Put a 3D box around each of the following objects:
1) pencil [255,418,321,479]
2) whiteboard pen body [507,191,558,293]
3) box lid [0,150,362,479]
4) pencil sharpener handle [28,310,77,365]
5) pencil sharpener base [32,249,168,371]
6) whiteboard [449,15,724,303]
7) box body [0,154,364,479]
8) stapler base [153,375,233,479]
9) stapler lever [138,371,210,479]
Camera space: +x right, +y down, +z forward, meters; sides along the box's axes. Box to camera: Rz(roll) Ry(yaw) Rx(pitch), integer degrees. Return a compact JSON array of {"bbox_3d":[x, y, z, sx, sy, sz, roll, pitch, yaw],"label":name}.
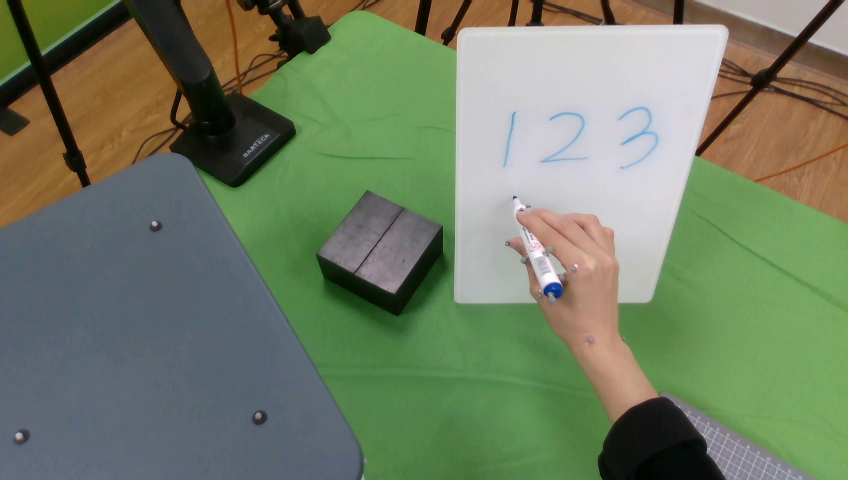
[{"bbox_3d":[-0.164,0.234,0.550,0.012,0.012,0.193,33,53,20],"label":"pencil"},{"bbox_3d":[0.089,-0.004,0.522,0.017,0.017,0.139,-7,38,-3],"label":"whiteboard pen body"},{"bbox_3d":[-0.244,0.095,0.470,0.263,0.015,0.368,-30,63,-17],"label":"box lid"},{"bbox_3d":[-0.355,0.095,0.569,0.030,0.068,0.035,-38,64,-19],"label":"pencil sharpener handle"},{"bbox_3d":[-0.316,0.073,0.597,0.076,0.108,0.061,-38,64,-19],"label":"pencil sharpener base"},{"bbox_3d":[0.135,-0.095,0.622,0.217,0.308,0.142,0,39,2],"label":"whiteboard"},{"bbox_3d":[-0.241,0.135,0.533,0.254,0.162,0.360,-31,63,-16],"label":"box body"},{"bbox_3d":[-0.224,0.187,0.570,0.041,0.025,0.129,3,61,24],"label":"stapler base"},{"bbox_3d":[-0.231,0.176,0.551,0.026,0.040,0.117,3,59,24],"label":"stapler lever"}]
